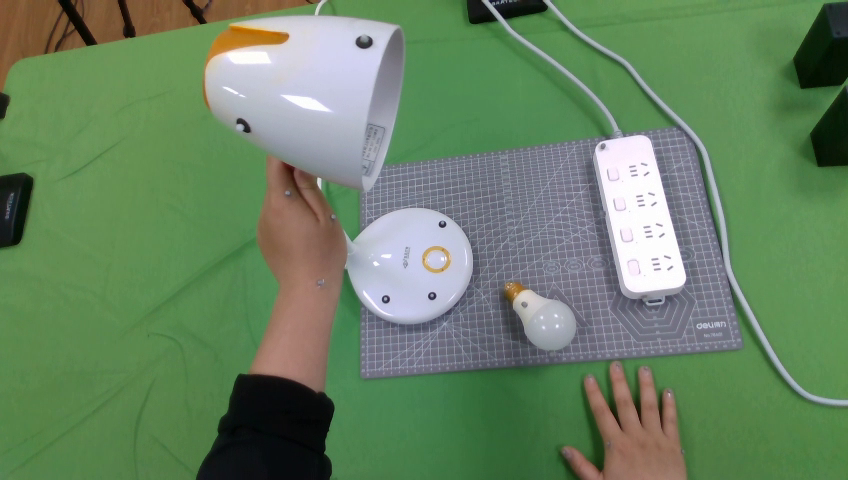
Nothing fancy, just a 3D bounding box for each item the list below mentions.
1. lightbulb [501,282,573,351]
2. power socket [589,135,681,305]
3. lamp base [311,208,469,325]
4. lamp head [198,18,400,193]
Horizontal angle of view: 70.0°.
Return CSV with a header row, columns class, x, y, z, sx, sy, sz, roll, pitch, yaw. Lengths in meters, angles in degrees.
class,x,y,z,sx,sy,sz,roll,pitch,yaw
lightbulb,0.130,0.086,0.719,0.059,0.060,0.106,-41,51,-7
power socket,0.259,-0.032,0.752,0.072,0.033,0.225,-8,67,6
lamp base,-0.048,0.005,0.712,0.179,0.182,0.159,-9,67,10
lamp head,-0.084,-0.096,0.411,0.123,0.113,0.112,11,71,7
